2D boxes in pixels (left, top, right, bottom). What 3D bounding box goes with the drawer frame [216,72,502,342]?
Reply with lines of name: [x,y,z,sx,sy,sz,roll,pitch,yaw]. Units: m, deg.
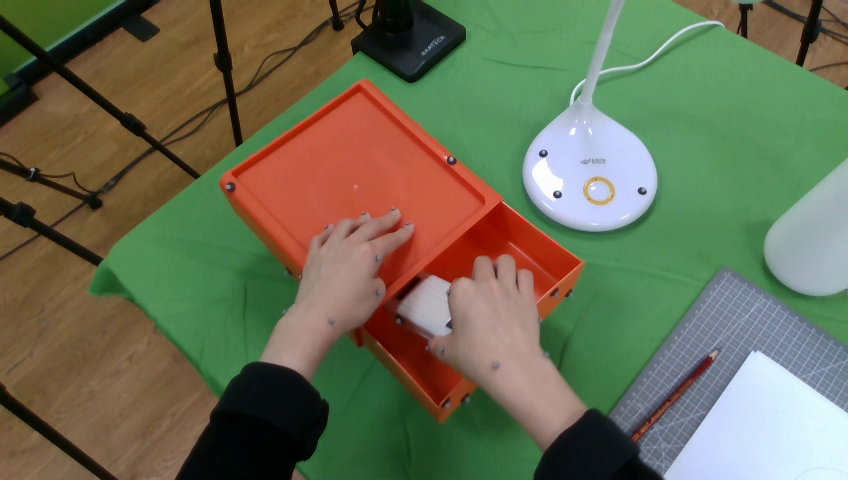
drawer frame: [-0.066,-0.039,0.632,0.201,0.083,0.212,-41,73,-17]

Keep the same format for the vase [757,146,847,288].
vase: [0.413,-0.031,0.597,0.098,0.201,0.097,-1,60,2]

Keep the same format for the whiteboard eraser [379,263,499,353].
whiteboard eraser: [0.012,0.060,0.562,0.055,0.042,0.111,-43,41,-21]

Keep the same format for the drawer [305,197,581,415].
drawer: [0.009,0.027,0.598,0.194,0.074,0.210,-42,67,-18]

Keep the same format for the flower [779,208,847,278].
flower: [0.427,-0.078,0.529,0.038,0.364,0.044,26,47,7]

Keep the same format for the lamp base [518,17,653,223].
lamp base: [0.189,-0.137,0.671,0.161,0.182,0.177,-13,59,-5]

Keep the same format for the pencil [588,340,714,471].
pencil: [0.231,0.161,0.605,0.194,0.012,0.012,-37,66,-18]
